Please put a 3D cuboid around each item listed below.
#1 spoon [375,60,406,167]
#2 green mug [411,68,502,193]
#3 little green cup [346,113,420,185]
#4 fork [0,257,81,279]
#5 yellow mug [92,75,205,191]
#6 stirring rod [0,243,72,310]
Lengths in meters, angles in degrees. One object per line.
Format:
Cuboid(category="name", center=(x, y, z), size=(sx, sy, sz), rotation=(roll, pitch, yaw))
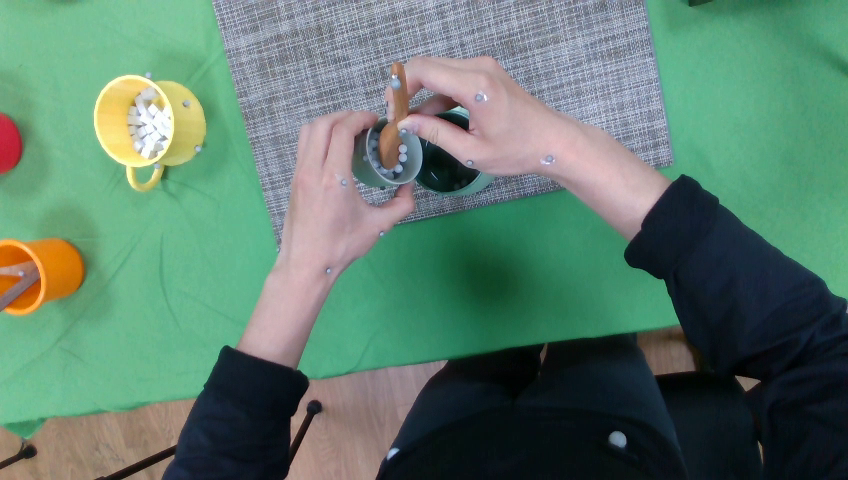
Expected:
Cuboid(category="spoon", center=(-0.023, -0.094, 0.458), size=(0.022, 0.194, 0.041), rotation=(17, 81, -5))
Cuboid(category="green mug", center=(0.030, -0.108, 0.607), size=(0.092, 0.105, 0.125), rotation=(5, 100, 11))
Cuboid(category="little green cup", center=(-0.038, -0.078, 0.540), size=(0.038, 0.062, 0.061), rotation=(-12, 98, 51))
Cuboid(category="fork", center=(-0.528, 0.037, 0.721), size=(0.208, 0.018, 0.028), rotation=(-1, 99, -33))
Cuboid(category="yellow mug", center=(-0.317, -0.120, 0.696), size=(0.100, 0.064, 0.131), rotation=(14, 103, 8))
Cuboid(category="stirring rod", center=(-0.498, 0.067, 0.726), size=(0.014, 0.006, 0.175), rotation=(38, 62, 2))
